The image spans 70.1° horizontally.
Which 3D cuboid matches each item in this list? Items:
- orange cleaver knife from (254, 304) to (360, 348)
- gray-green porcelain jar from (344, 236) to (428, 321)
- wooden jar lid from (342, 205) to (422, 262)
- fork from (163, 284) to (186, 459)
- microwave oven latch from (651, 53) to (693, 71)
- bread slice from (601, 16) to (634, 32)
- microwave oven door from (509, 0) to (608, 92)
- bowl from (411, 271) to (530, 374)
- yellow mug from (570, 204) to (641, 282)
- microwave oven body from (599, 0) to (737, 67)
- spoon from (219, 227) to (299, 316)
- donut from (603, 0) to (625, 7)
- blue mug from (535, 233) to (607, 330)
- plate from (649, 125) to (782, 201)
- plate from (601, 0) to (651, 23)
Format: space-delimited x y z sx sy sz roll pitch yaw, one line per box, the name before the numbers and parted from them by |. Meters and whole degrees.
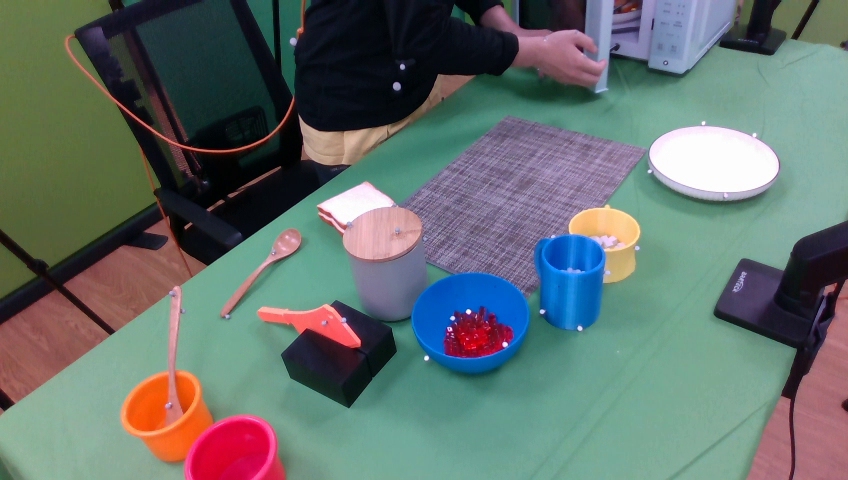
orange cleaver knife | -0.161 0.115 0.813 0.210 0.077 0.012 -4 33 46
gray-green porcelain jar | -0.049 0.042 0.849 0.106 0.127 0.105 -4 41 4
wooden jar lid | -0.055 -0.006 0.808 0.108 0.021 0.108 -6 40 6
fork | -0.303 0.157 0.733 0.028 0.019 0.207 -3 84 13
microwave oven latch | 0.532 -0.386 1.301 0.078 0.029 0.030 27 52 34
bread slice | 0.433 -0.565 1.475 0.105 0.019 0.131 -31 67 -24
microwave oven door | 0.288 -0.502 1.315 0.039 0.245 0.352 -21 42 -15
bowl | 0.061 0.120 0.780 0.151 0.077 0.150 -4 40 4
yellow mug | 0.268 -0.005 0.904 0.099 0.064 0.130 7 42 15
microwave oven body | 0.475 -0.602 1.411 0.438 0.261 0.327 23 50 32
spoon | -0.261 0.046 0.954 0.041 0.021 0.194 27 48 11
donut | 0.436 -0.590 1.432 0.099 0.048 0.098 -3 54 4
blue mug | 0.191 0.048 0.824 0.082 0.106 0.115 -26 44 -20
plate | 0.493 -0.128 1.036 0.207 0.039 0.206 -4 41 4
plate | 0.439 -0.573 1.456 0.209 0.038 0.208 -6 44 6
